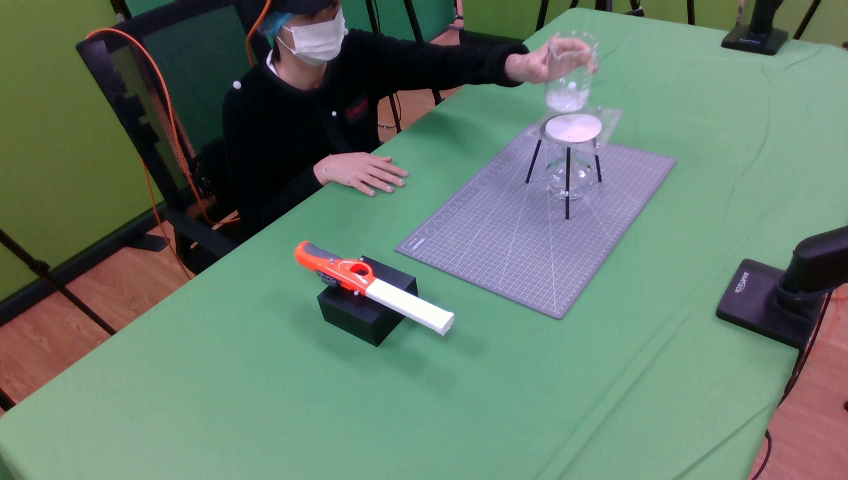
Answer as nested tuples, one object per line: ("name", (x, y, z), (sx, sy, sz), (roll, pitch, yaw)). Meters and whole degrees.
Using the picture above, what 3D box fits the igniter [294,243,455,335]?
("igniter", (-0.079, 0.062, 0.837), (0.274, 0.025, 0.057), (22, 49, 27))

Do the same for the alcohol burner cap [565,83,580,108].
("alcohol burner cap", (0.315, -0.308, 1.278), (0.034, 0.048, 0.033), (-4, 43, 4))

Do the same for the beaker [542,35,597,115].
("beaker", (0.217, -0.248, 0.921), (0.073, 0.100, 0.084), (25, 49, 30))

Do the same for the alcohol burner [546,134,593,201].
("alcohol burner", (0.243, -0.126, 1.012), (0.078, 0.119, 0.077), (-5, 41, 5))

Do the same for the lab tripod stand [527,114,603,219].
("lab tripod stand", (0.234, -0.129, 1.002), (0.148, 0.132, 0.147), (-6, 40, 6))

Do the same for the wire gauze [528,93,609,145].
("wire gauze", (0.225, -0.188, 0.943), (0.121, 0.011, 0.124), (6, 48, 9))
